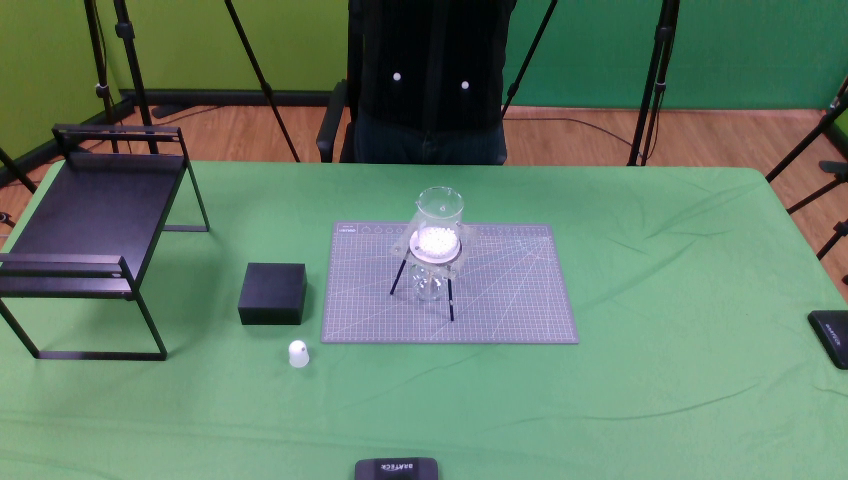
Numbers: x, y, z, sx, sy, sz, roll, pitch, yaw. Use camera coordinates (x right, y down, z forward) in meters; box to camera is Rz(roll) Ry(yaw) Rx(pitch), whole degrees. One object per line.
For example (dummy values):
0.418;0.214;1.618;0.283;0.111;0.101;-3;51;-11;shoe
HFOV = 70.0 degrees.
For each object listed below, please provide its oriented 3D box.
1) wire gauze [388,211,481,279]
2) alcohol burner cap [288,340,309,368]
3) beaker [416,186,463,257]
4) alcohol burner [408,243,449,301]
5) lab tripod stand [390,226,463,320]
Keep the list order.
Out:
0.018;0.003;1.020;0.125;0.011;0.121;20;47;18;wire gauze
-0.207;0.183;0.991;0.034;0.048;0.033;3;47;-3;alcohol burner cap
0.024;-0.029;0.984;0.074;0.101;0.083;19;49;14;beaker
0.010;0.052;1.078;0.078;0.120;0.077;1;45;-1;alcohol burner
0.014;0.053;1.063;0.148;0.132;0.147;1;48;-1;lab tripod stand
